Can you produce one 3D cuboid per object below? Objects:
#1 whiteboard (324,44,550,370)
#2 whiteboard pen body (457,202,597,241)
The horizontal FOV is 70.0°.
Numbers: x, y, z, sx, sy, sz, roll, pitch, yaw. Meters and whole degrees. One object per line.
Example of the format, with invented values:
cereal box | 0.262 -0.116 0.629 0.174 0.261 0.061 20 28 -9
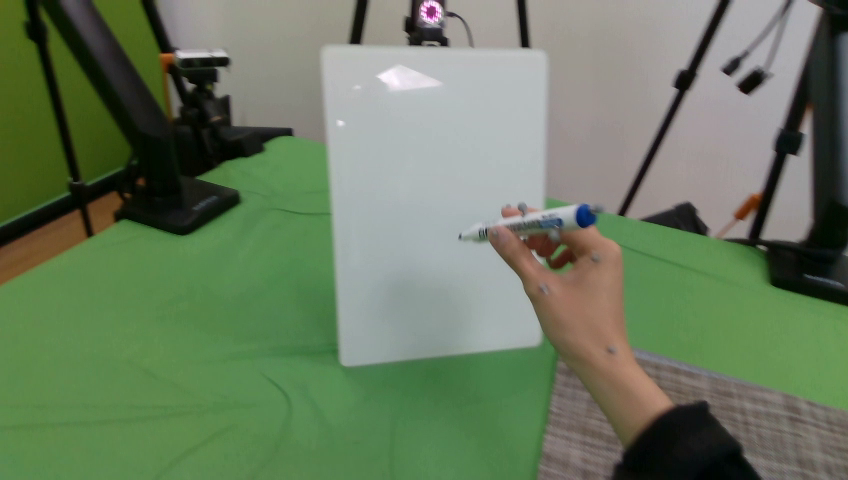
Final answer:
whiteboard | 0.004 -0.042 0.650 0.218 0.306 0.143 -4 13 -13
whiteboard pen body | 0.064 -0.010 0.423 0.017 0.017 0.140 -17 4 -32
